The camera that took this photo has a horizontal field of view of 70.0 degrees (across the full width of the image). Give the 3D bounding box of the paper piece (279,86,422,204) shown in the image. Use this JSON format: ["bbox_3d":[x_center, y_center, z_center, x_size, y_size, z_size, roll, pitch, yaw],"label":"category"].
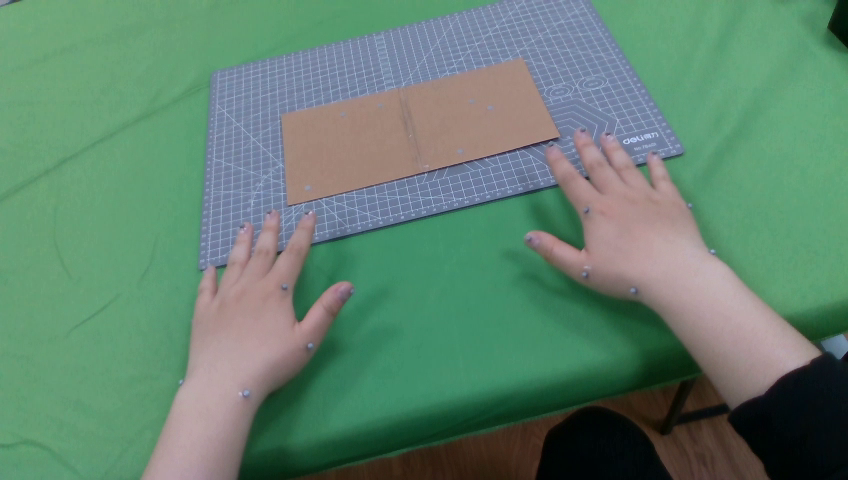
[{"bbox_3d":[-0.079,-0.102,0.615,0.138,0.009,0.134,-14,49,1],"label":"paper piece"}]

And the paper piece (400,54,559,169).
[{"bbox_3d":[0.051,-0.135,0.613,0.135,0.004,0.134,-14,51,2],"label":"paper piece"}]
